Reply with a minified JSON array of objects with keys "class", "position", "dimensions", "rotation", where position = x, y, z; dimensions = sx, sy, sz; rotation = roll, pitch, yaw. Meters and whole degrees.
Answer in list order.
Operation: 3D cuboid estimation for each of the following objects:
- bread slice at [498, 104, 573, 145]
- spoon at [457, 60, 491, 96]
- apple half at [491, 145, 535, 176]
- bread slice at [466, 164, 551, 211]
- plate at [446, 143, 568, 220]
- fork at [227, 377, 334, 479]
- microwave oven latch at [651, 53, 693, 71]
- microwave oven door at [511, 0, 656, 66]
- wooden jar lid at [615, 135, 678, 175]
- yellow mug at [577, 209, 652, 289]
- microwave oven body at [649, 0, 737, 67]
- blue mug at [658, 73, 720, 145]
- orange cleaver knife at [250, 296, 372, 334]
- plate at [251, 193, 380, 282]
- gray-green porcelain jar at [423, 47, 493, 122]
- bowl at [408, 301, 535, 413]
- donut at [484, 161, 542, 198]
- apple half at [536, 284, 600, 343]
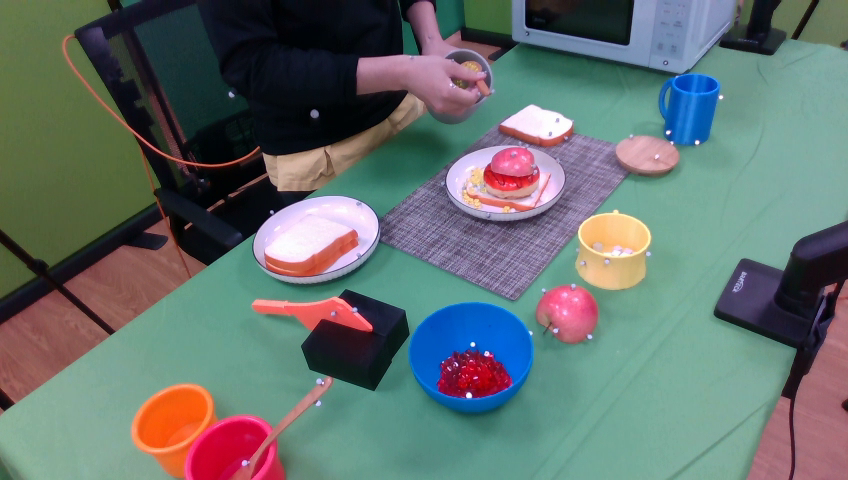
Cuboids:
[{"class":"bread slice","position":[0.231,-0.231,1.205],"dimensions":[0.105,0.019,0.130],"rotation":[-36,47,-29]},{"class":"spoon","position":[0.084,-0.266,0.984],"dimensions":[0.041,0.022,0.193],"rotation":[-11,26,0]},{"class":"apple half","position":[0.147,-0.138,0.994],"dimensions":[0.081,0.033,0.081],"rotation":[0,37,0]},{"class":"bread slice","position":[0.141,-0.092,1.042],"dimensions":[0.133,0.018,0.107],"rotation":[11,43,18]},{"class":"plate","position":[0.143,-0.097,1.045],"dimensions":[0.207,0.039,0.206],"rotation":[-4,40,4]},{"class":"fork","position":[-0.162,0.216,0.647],"dimensions":[0.207,0.019,0.028],"rotation":[-49,41,16]},{"class":"microwave oven latch","position":[0.532,-0.386,1.301],"dimensions":[0.078,0.029,0.030],"rotation":[27,52,34]},{"class":"microwave oven door","position":[0.351,-0.540,1.349],"dimensions":[0.353,0.245,0.039],"rotation":[24,50,31]},{"class":"wooden jar lid","position":[0.398,-0.151,1.086],"dimensions":[0.108,0.021,0.108],"rotation":[-2,42,2]},{"class":"yellow mug","position":[0.279,0.004,0.893],"dimensions":[0.099,0.064,0.130],"rotation":[5,42,14]},{"class":"microwave oven body","position":[0.475,-0.602,1.411],"dimensions":[0.438,0.261,0.327],"rotation":[23,50,32]},{"class":"blue mug","position":[0.483,-0.250,1.127],"dimensions":[0.082,0.106,0.115],"rotation":[-26,44,-19]},{"class":"orange cleaver knife","position":[-0.158,0.103,0.828],"dimensions":[0.210,0.078,0.012],"rotation":[-4,43,39]},{"class":"plate","position":[-0.174,-0.001,0.984],"dimensions":[0.209,0.038,0.208],"rotation":[-4,41,4]},{"class":"gray-green porcelain jar","position":[0.058,-0.280,1.112],"dimensions":[0.106,0.106,0.126],"rotation":[-18,0,-12]},{"class":"bowl","position":[0.059,0.156,0.739],"dimensions":[0.151,0.077,0.150],"rotation":[-4,40,4]},{"class":"donut","position":[0.149,-0.109,1.016],"dimensions":[0.099,0.048,0.098],"rotation":[-4,40,4]},{"class":"apple half","position":[0.196,0.091,0.815],"dimensions":[0.075,0.053,0.080],"rotation":[-22,42,-20]}]
